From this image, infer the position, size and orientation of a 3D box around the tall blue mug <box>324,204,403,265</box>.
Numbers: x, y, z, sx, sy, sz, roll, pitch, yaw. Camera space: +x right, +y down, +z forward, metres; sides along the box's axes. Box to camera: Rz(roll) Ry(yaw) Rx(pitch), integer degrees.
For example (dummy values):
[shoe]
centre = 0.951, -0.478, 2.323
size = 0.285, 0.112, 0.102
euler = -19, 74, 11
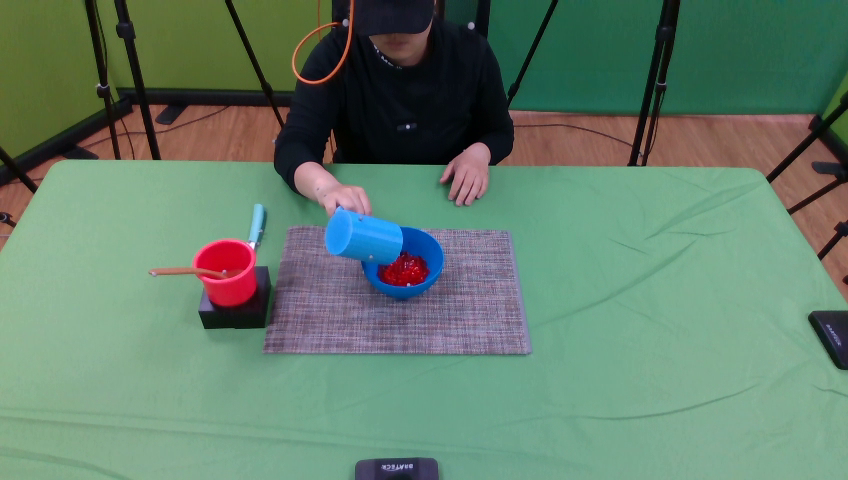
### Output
[tall blue mug]
centre = -0.102, -0.019, 1.018
size = 0.108, 0.078, 0.106
euler = 14, 64, -41

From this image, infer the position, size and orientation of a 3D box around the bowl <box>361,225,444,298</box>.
[bowl]
centre = -0.040, 0.053, 1.099
size = 0.151, 0.077, 0.150
euler = 2, 46, -2

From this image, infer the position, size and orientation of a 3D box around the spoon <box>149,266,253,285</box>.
[spoon]
centre = -0.351, 0.052, 0.968
size = 0.041, 0.021, 0.194
euler = 41, 13, 28

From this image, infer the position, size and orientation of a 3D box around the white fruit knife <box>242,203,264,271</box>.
[white fruit knife]
centre = -0.334, 0.001, 1.178
size = 0.027, 0.016, 0.206
euler = -18, 46, 16
